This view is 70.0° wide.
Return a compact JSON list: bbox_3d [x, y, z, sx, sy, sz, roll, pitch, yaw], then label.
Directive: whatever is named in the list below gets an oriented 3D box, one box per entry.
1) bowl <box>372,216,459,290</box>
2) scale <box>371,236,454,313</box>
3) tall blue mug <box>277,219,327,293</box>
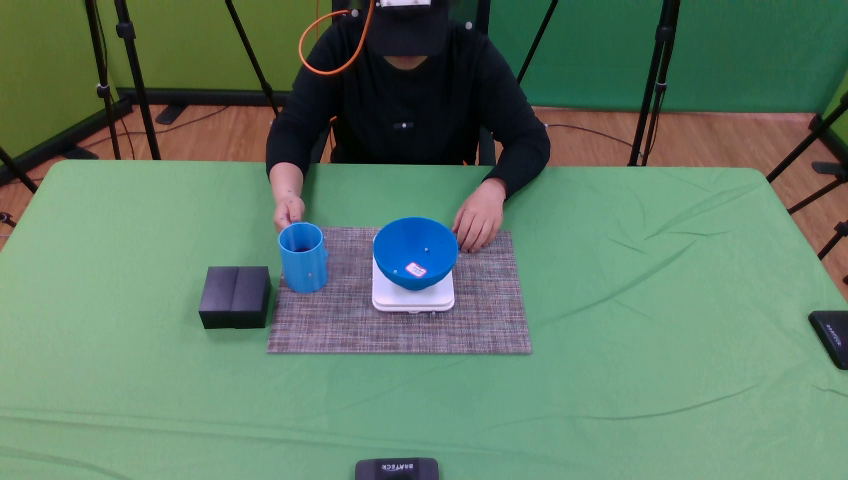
[{"bbox_3d":[-0.016,0.036,1.075,0.151,0.077,0.150,1,46,-1],"label":"bowl"},{"bbox_3d":[-0.022,0.051,1.134,0.149,0.032,0.199,1,46,-4],"label":"scale"},{"bbox_3d":[-0.227,0.023,1.092,0.106,0.108,0.078,37,55,27],"label":"tall blue mug"}]
